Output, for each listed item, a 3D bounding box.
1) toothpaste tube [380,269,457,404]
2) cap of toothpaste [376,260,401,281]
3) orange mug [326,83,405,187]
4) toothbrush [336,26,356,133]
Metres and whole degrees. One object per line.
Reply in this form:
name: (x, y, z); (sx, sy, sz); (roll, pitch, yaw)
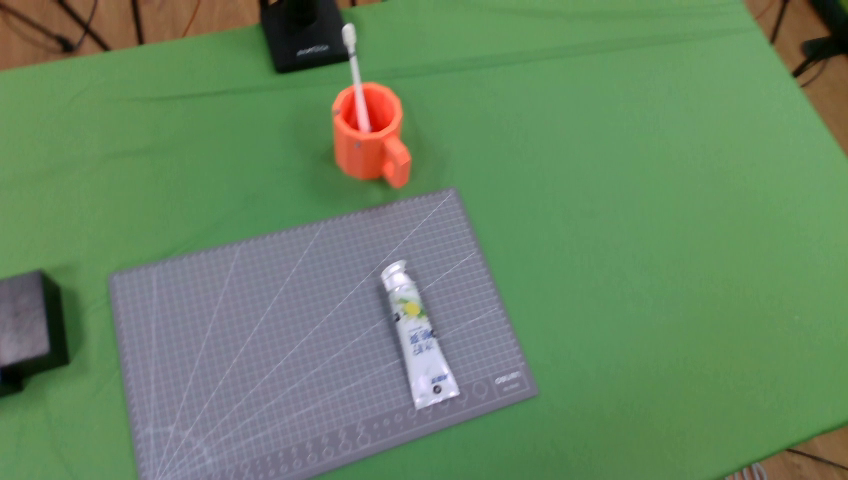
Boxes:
toothpaste tube: (-0.015, 0.111, 0.730); (0.055, 0.035, 0.164); (-20, 73, -7)
cap of toothpaste: (-0.042, 0.038, 0.754); (0.037, 0.037, 0.011); (-28, 68, -18)
orange mug: (-0.072, -0.131, 0.797); (0.083, 0.101, 0.125); (-37, 70, -20)
toothbrush: (-0.095, -0.176, 0.770); (0.014, 0.183, 0.016); (-22, 34, -34)
